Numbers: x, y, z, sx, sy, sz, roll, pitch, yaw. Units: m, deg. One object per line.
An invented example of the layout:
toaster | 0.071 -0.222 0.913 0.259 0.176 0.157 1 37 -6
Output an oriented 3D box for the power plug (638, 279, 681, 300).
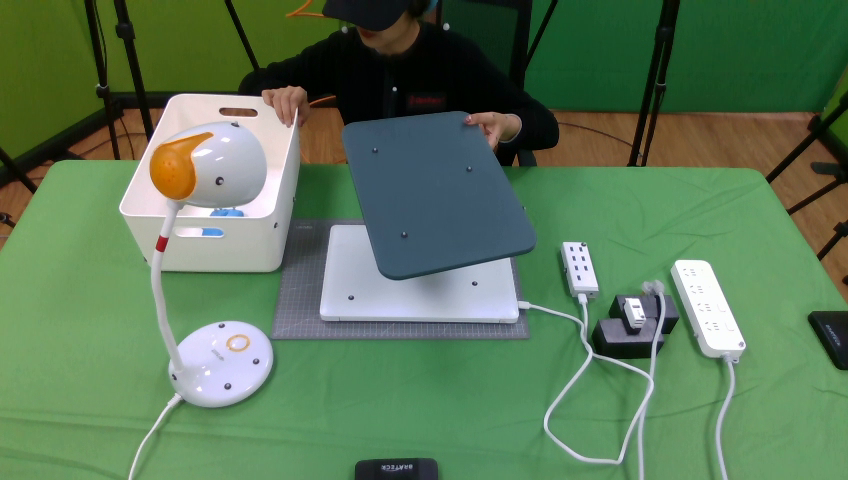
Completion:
power plug | 0.434 0.099 1.119 0.073 0.053 0.035 33 38 -15

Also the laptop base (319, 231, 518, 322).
laptop base | -0.010 0.063 1.137 0.354 0.023 0.234 1 42 -3

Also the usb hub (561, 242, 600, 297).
usb hub | 0.300 0.055 1.162 0.049 0.025 0.124 2 46 -3

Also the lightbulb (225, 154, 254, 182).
lightbulb | -0.400 -0.161 1.300 0.059 0.060 0.107 -17 30 -20

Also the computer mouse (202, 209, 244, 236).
computer mouse | -0.389 -0.022 1.171 0.063 0.041 0.116 -1 41 -2

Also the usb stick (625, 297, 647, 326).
usb stick | 0.360 0.117 1.034 0.021 0.027 0.059 -2 44 -2

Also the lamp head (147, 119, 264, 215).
lamp head | -0.276 -0.087 0.740 0.112 0.112 0.123 20 23 15

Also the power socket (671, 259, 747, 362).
power socket | 0.517 0.119 1.108 0.072 0.033 0.225 1 46 -2

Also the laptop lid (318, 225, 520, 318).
laptop lid | -0.009 0.053 1.131 0.357 0.013 0.240 2 43 -2

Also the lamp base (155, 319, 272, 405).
lamp base | -0.330 0.149 0.918 0.160 0.181 0.179 26 52 20

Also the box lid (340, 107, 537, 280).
box lid | 0.013 -0.095 1.035 0.263 0.015 0.369 -11 52 -11

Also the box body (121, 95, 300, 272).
box body | -0.387 -0.112 1.182 0.254 0.161 0.361 1 46 -3
